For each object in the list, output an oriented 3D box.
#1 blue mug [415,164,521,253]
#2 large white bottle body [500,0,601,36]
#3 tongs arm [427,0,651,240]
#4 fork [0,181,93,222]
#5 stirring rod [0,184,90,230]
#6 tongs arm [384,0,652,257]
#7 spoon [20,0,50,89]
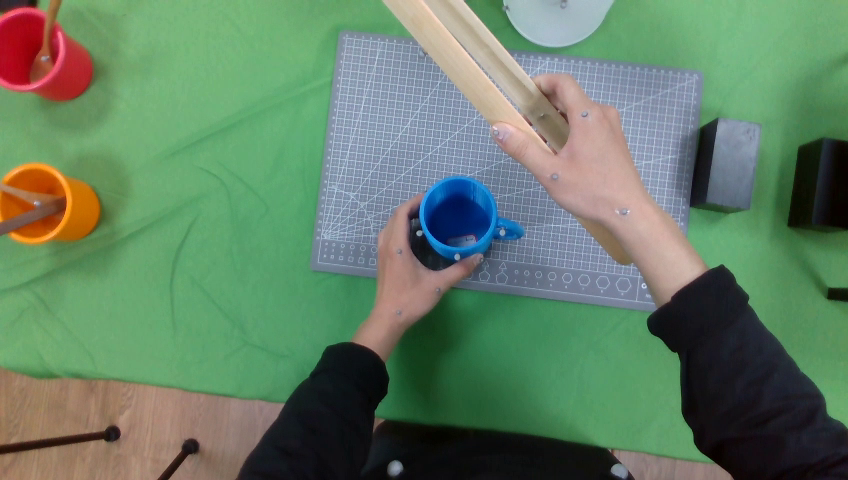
[{"bbox_3d":[0.051,-0.029,0.678,0.116,0.106,0.082,10,84,4],"label":"blue mug"},{"bbox_3d":[0.151,-0.316,0.656,0.130,0.185,0.130,0,88,1],"label":"large white bottle body"},{"bbox_3d":[0.071,-0.132,0.507,0.028,0.028,0.390,-33,114,33],"label":"tongs arm"},{"bbox_3d":[-0.483,-0.065,0.678,0.209,0.018,0.028,26,87,-42],"label":"fork"},{"bbox_3d":[-0.463,-0.025,0.683,0.014,0.006,0.176,53,48,-1],"label":"stirring rod"},{"bbox_3d":[0.064,-0.115,0.488,0.026,0.050,0.387,-31,112,36],"label":"tongs arm"},{"bbox_3d":[-0.433,-0.243,0.685,0.041,0.021,0.194,53,133,5],"label":"spoon"}]
